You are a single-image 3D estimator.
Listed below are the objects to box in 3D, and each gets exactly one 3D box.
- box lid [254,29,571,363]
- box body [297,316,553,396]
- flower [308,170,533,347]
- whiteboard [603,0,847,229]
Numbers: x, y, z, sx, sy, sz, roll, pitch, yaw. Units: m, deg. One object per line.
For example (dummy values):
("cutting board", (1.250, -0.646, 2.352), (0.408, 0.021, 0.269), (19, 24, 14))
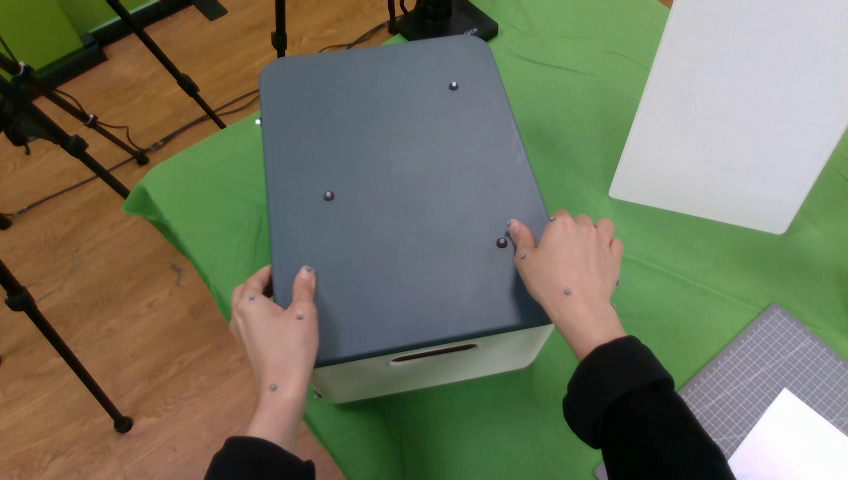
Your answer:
("box lid", (-0.028, -0.072, 0.602), (0.263, 0.015, 0.367), (-10, 60, -6))
("box body", (-0.027, -0.032, 0.664), (0.254, 0.162, 0.360), (-10, 60, -6))
("flower", (-0.022, 0.005, 0.723), (0.358, 0.038, 0.044), (36, 97, 26))
("whiteboard", (0.364, -0.194, 0.713), (0.217, 0.308, 0.143), (14, 41, 9))
